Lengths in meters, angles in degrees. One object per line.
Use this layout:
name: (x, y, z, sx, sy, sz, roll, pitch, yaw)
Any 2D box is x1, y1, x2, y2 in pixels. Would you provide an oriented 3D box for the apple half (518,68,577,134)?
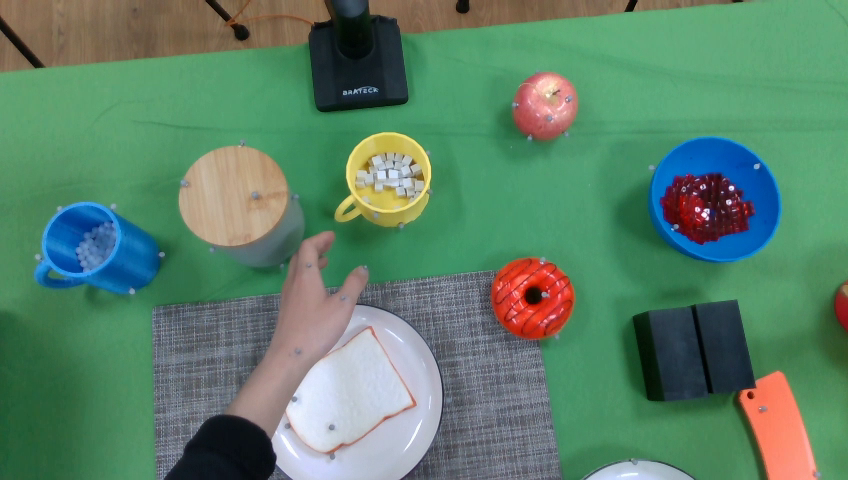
apple half: (0.159, -0.177, 0.755, 0.053, 0.075, 0.080, -38, 77, -15)

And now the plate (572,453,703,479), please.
plate: (0.234, 0.338, 0.658, 0.209, 0.038, 0.208, 0, 77, -1)

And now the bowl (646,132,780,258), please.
bowl: (0.331, -0.045, 0.727, 0.151, 0.077, 0.150, 0, 77, -1)

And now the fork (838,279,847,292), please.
fork: (0.499, 0.060, 0.674, 0.209, 0.018, 0.028, 12, 73, -42)

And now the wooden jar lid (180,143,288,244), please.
wooden jar lid: (-0.194, -0.046, 0.624, 0.108, 0.021, 0.108, 0, 75, -1)

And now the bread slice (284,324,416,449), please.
bread slice: (-0.089, 0.173, 0.684, 0.131, 0.019, 0.104, -32, 80, -9)

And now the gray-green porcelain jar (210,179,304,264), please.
gray-green porcelain jar: (-0.195, -0.031, 0.684, 0.106, 0.127, 0.105, 0, 76, -1)

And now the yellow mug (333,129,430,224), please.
yellow mug: (-0.055, -0.066, 0.727, 0.131, 0.064, 0.099, -37, 81, -9)

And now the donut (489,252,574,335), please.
donut: (0.125, 0.062, 0.711, 0.099, 0.048, 0.098, 0, 78, -2)

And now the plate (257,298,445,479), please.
plate: (-0.080, 0.170, 0.684, 0.208, 0.039, 0.206, 0, 78, -1)

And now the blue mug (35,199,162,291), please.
blue mug: (-0.370, 0.017, 0.678, 0.116, 0.106, 0.082, -32, 79, -8)

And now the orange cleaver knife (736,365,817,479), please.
orange cleaver knife: (0.412, 0.252, 0.693, 0.077, 0.012, 0.210, -4, 76, -9)

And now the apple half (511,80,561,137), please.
apple half: (0.130, -0.152, 0.747, 0.033, 0.081, 0.081, -39, 80, -14)
